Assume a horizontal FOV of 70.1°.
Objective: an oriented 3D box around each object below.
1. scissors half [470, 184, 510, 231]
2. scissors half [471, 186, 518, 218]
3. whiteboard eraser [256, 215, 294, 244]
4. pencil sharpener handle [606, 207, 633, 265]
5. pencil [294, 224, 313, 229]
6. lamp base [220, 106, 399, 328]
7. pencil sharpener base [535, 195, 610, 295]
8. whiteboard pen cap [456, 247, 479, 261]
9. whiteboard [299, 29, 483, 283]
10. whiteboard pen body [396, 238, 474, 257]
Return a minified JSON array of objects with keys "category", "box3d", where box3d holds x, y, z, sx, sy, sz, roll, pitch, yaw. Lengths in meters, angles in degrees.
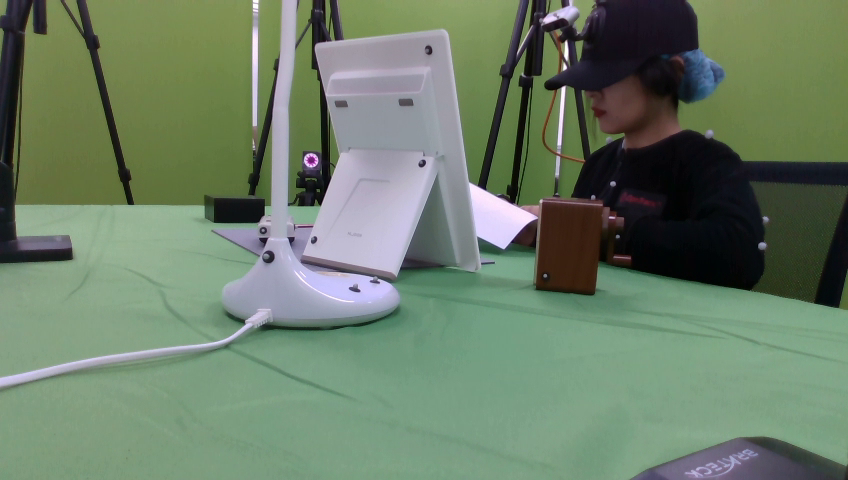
[{"category":"scissors half","box3d":[0.098,-0.077,1.147,0.175,0.040,0.012,44,-12,-16]},{"category":"scissors half","box3d":[0.109,-0.093,1.151,0.176,0.040,0.013,27,-12,-20]},{"category":"whiteboard eraser","box3d":[-0.232,-0.016,0.951,0.056,0.042,0.112,2,7,-12]},{"category":"pencil sharpener handle","box3d":[0.223,-0.004,0.683,0.030,0.068,0.036,5,20,17]},{"category":"pencil","box3d":[-0.221,-0.028,1.210,0.195,0.012,0.012,-5,10,-34]},{"category":"lamp base","box3d":[-0.101,-0.023,0.531,0.160,0.180,0.179,4,10,10]},{"category":"pencil sharpener base","box3d":[0.172,0.005,0.696,0.076,0.107,0.061,5,7,16]},{"category":"whiteboard pen cap","box3d":[0.060,0.020,0.851,0.033,0.018,0.018,10,10,37]},{"category":"whiteboard","box3d":[-0.074,-0.082,0.742,0.216,0.305,0.144,9,30,38]},{"category":"whiteboard pen body","box3d":[0.014,0.012,0.886,0.140,0.017,0.017,9,10,38]}]
